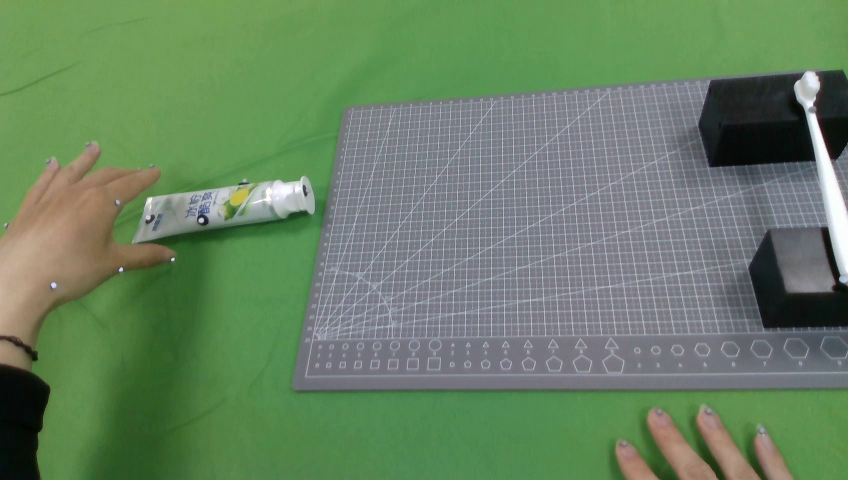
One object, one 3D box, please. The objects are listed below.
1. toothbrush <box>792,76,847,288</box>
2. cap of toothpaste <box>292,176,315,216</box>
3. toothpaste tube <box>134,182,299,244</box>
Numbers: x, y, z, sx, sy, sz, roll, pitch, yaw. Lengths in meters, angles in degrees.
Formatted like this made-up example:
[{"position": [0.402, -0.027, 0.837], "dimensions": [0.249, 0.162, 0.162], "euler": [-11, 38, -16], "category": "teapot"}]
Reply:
[{"position": [0.280, -0.047, 0.420], "dimensions": [0.014, 0.017, 0.180], "euler": [9, 59, 1], "category": "toothbrush"}, {"position": [-0.107, -0.038, 0.538], "dimensions": [0.011, 0.038, 0.037], "euler": [-10, 55, 5], "category": "cap of toothpaste"}, {"position": [-0.186, -0.030, 0.554], "dimensions": [0.165, 0.035, 0.054], "euler": [-7, 49, 10], "category": "toothpaste tube"}]
